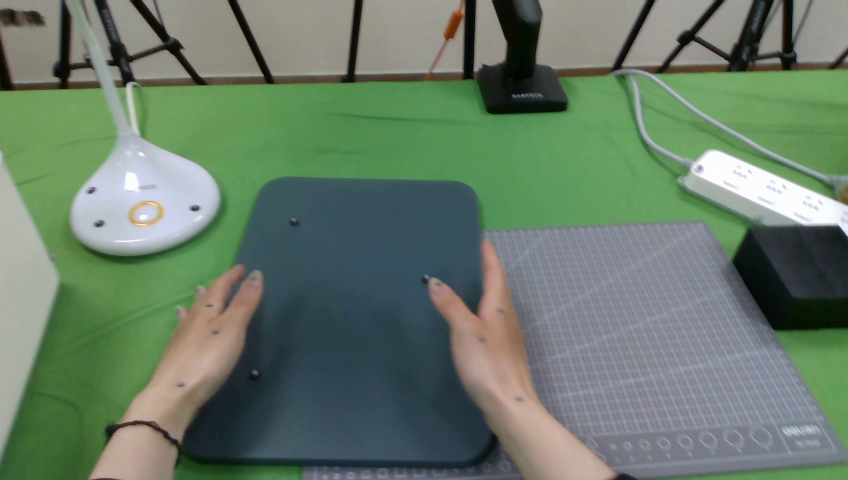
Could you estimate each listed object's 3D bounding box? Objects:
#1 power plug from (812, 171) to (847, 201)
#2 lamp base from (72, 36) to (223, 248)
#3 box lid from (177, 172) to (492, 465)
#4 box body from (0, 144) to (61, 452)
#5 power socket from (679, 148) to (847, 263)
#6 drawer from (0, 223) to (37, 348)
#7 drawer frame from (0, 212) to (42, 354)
[{"bbox_3d":[0.513,-0.063,0.750,0.053,0.035,0.072,-26,16,-32],"label":"power plug"},{"bbox_3d":[-0.319,-0.111,0.648,0.161,0.182,0.177,-21,46,-22],"label":"lamp base"},{"bbox_3d":[-0.070,0.049,0.612,0.263,0.015,0.368,1,44,0],"label":"box lid"},{"bbox_3d":[-0.455,0.100,0.436,0.255,0.162,0.360,-5,44,-8],"label":"box body"},{"bbox_3d":[0.421,-0.045,0.716,0.224,0.033,0.072,33,51,29],"label":"power socket"},{"bbox_3d":[-0.446,0.060,0.473,0.195,0.074,0.209,5,34,-17],"label":"drawer"},{"bbox_3d":[-0.448,0.059,0.475,0.202,0.083,0.211,4,33,-17],"label":"drawer frame"}]
